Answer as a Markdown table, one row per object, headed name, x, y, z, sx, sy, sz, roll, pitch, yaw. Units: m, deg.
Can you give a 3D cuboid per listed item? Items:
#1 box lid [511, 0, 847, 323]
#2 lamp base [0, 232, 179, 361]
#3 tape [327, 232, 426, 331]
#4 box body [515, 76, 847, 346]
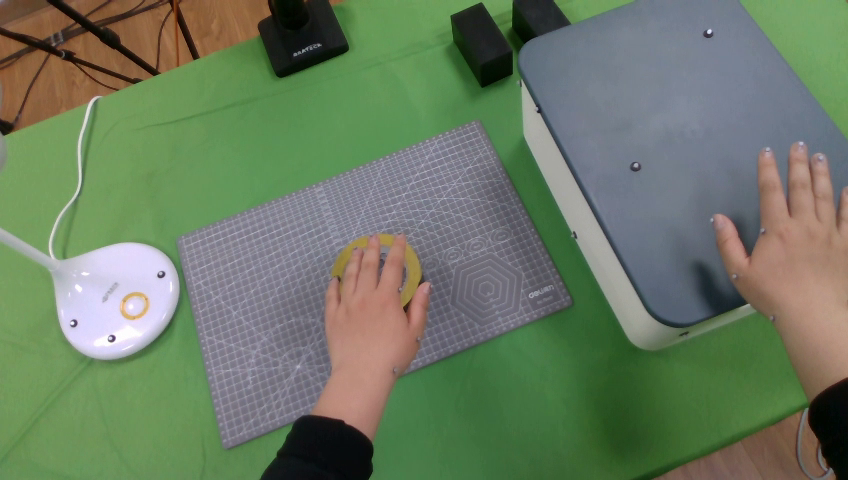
| name | x | y | z | sx | sy | sz | roll | pitch | yaw |
| --- | --- | --- | --- | --- | --- | --- | --- | --- | --- |
| box lid | 0.275 | -0.117 | 0.636 | 0.263 | 0.015 | 0.368 | -21 | 66 | -2 |
| lamp base | -0.422 | 0.046 | 0.729 | 0.178 | 0.182 | 0.160 | 13 | 69 | 16 |
| tape | -0.059 | 0.050 | 0.747 | 0.117 | 0.053 | 0.116 | -2 | 66 | 6 |
| box body | 0.284 | -0.086 | 0.702 | 0.254 | 0.161 | 0.360 | -22 | 66 | -2 |
